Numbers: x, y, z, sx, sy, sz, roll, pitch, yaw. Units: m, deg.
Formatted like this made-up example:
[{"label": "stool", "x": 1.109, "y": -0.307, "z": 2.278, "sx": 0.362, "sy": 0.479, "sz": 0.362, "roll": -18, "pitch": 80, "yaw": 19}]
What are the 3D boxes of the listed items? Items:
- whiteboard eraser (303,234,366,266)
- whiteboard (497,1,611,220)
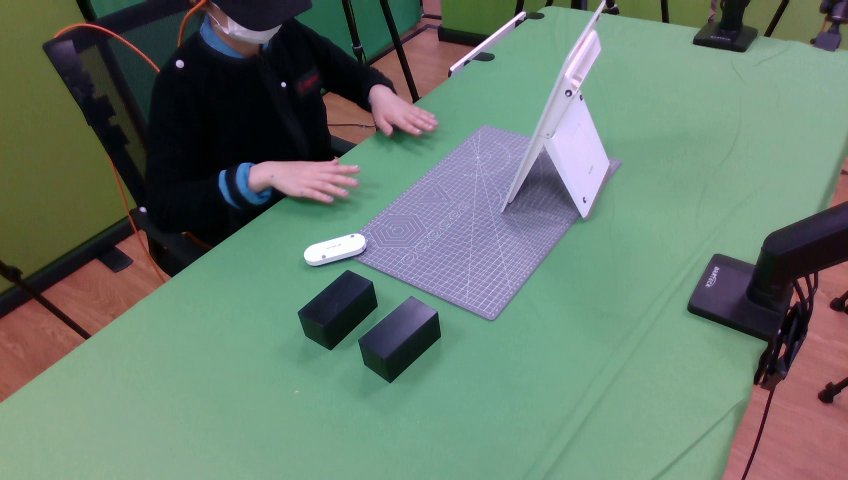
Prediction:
[{"label": "whiteboard eraser", "x": -0.144, "y": 0.015, "z": 0.970, "sx": 0.101, "sy": 0.019, "sz": 0.041, "roll": -14, "pitch": 43, "yaw": -6}, {"label": "whiteboard", "x": 0.259, "y": -0.177, "z": 0.963, "sx": 0.143, "sy": 0.306, "sz": 0.217, "roll": 28, "pitch": 48, "yaw": 9}]
